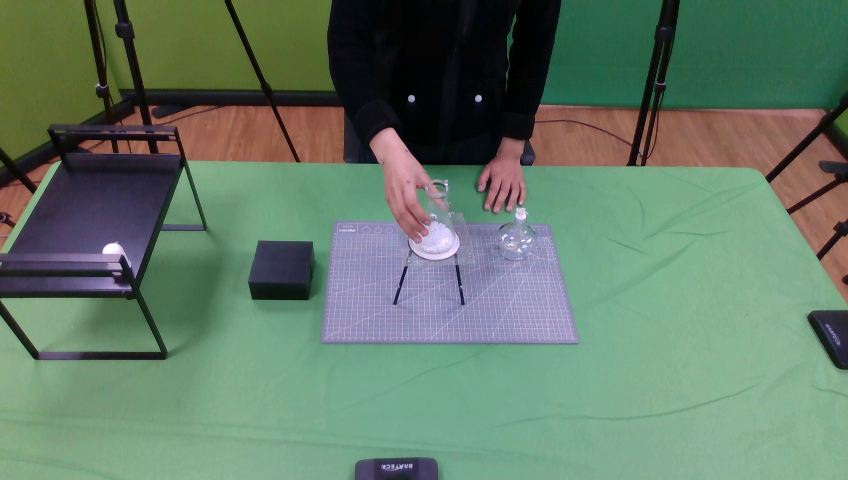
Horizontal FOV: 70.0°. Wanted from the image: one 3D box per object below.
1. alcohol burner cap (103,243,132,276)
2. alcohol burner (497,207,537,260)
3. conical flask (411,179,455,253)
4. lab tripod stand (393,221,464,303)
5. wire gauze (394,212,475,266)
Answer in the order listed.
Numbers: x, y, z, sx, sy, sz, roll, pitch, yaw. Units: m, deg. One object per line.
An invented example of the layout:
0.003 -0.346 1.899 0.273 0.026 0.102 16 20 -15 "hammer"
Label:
-0.446 0.025 0.875 0.034 0.048 0.033 3 46 -3 "alcohol burner cap"
0.180 -0.019 1.163 0.078 0.120 0.077 1 48 -1 "alcohol burner"
0.017 -0.042 0.985 0.075 0.122 0.075 2 47 -2 "conical flask"
0.010 0.045 1.074 0.148 0.132 0.147 2 48 -2 "lab tripod stand"
0.015 -0.001 1.029 0.125 0.011 0.120 -5 45 -5 "wire gauze"
